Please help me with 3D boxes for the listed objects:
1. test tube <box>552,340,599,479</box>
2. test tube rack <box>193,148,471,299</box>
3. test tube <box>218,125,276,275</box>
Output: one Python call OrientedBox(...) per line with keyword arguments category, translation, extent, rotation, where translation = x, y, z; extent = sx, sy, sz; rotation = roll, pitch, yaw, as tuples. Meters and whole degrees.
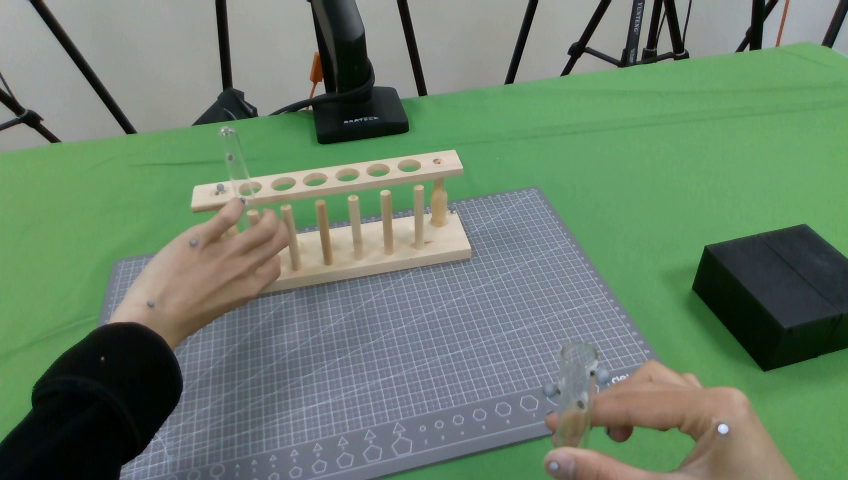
OrientedBox(category="test tube", translation=(0.072, 0.108, 0.297), extent=(0.017, 0.151, 0.017), rotation=(-3, 34, 3))
OrientedBox(category="test tube rack", translation=(-0.081, -0.017, 0.568), extent=(0.243, 0.086, 0.066), rotation=(-9, 40, -8))
OrientedBox(category="test tube", translation=(-0.150, -0.030, 0.517), extent=(0.017, 0.152, 0.017), rotation=(-2, 39, 2))
